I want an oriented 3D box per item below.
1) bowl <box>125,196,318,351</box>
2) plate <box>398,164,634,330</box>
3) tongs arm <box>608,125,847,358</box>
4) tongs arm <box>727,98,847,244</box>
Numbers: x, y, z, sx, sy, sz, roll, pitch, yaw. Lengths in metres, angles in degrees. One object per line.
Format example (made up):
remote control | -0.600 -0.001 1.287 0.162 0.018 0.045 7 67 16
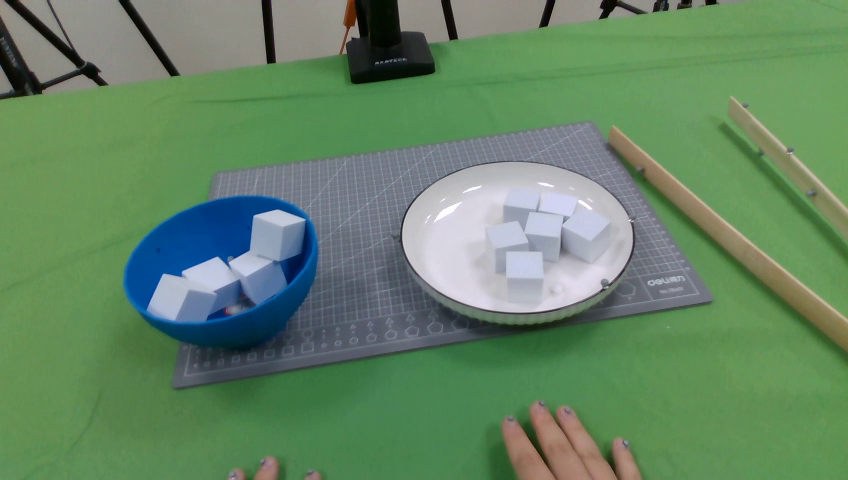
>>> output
bowl | -0.157 0.039 0.506 0.151 0.077 0.150 -3 42 3
plate | 0.081 0.005 0.551 0.207 0.039 0.205 -3 42 3
tongs arm | 0.283 -0.004 0.551 0.028 0.028 0.383 -16 43 -15
tongs arm | 0.359 -0.023 0.559 0.051 0.027 0.380 -9 43 -3
